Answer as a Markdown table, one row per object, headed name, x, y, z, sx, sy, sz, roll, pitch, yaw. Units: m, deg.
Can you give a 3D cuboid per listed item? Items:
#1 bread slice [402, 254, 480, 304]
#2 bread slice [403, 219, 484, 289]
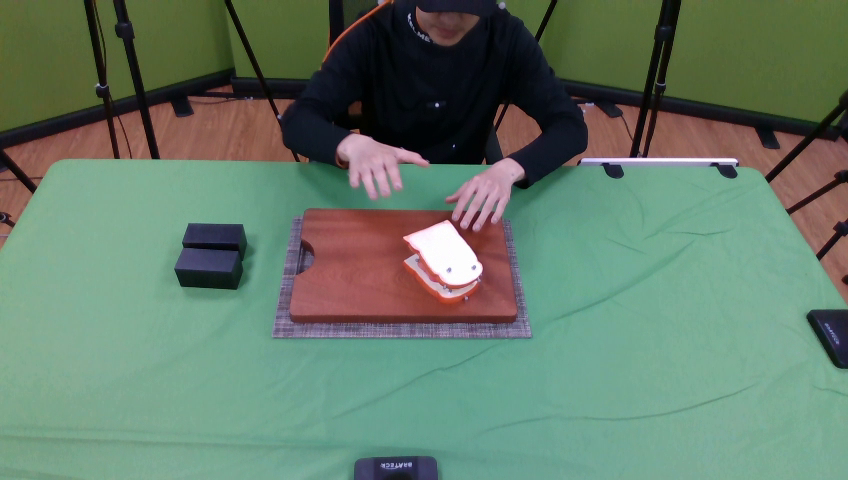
| name | x | y | z | sx | sy | sz | roll | pitch | yaw |
| --- | --- | --- | --- | --- | --- | --- | --- | --- | --- |
| bread slice | 0.040 | 0.058 | 1.106 | 0.105 | 0.019 | 0.131 | -29 | 54 | -25 |
| bread slice | 0.042 | 0.028 | 1.075 | 0.107 | 0.018 | 0.133 | -25 | 64 | -34 |
